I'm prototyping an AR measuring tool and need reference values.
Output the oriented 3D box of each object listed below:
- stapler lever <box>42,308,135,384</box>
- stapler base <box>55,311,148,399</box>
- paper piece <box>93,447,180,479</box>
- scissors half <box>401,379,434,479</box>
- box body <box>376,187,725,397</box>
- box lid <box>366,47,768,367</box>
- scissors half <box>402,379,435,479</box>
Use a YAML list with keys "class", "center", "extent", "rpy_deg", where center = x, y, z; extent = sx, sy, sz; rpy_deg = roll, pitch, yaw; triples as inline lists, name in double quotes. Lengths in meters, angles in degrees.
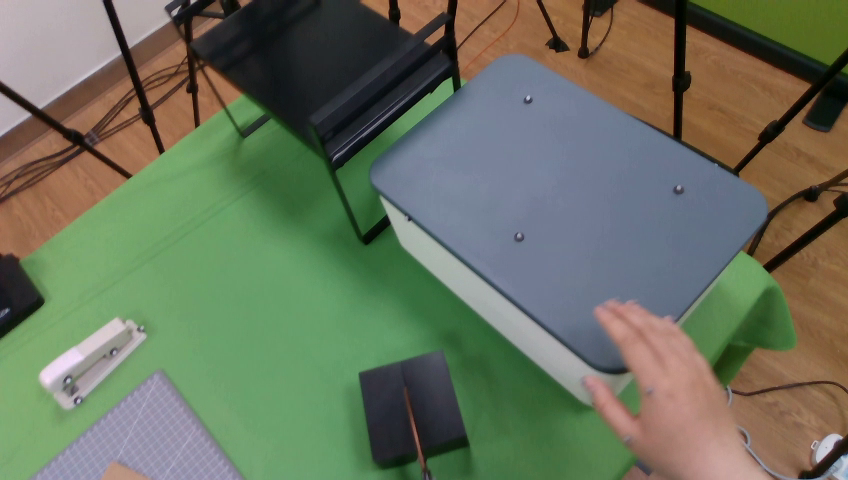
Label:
- class: "stapler lever"
  center: [-0.427, 0.132, 0.769]
  extent: [0.026, 0.040, 0.118]
  rpy_deg: [35, 70, 22]
- class: "stapler base"
  center: [-0.425, 0.146, 0.789]
  extent: [0.041, 0.024, 0.130]
  rpy_deg: [35, 69, 22]
- class: "paper piece"
  center: [-0.336, 0.323, 0.679]
  extent: [0.137, 0.009, 0.135]
  rpy_deg: [18, 69, 16]
- class: "scissors half"
  center: [-0.002, 0.226, 0.622]
  extent: [0.013, 0.040, 0.173]
  rpy_deg: [-19, 62, 5]
- class: "box body"
  center: [0.149, -0.025, 0.718]
  extent: [0.254, 0.162, 0.361]
  rpy_deg: [-43, 63, -15]
- class: "box lid"
  center: [0.138, -0.064, 0.655]
  extent: [0.263, 0.015, 0.368]
  rpy_deg: [-42, 63, -16]
- class: "scissors half"
  center: [0.002, 0.233, 0.641]
  extent: [0.013, 0.040, 0.174]
  rpy_deg: [-17, 80, 0]
